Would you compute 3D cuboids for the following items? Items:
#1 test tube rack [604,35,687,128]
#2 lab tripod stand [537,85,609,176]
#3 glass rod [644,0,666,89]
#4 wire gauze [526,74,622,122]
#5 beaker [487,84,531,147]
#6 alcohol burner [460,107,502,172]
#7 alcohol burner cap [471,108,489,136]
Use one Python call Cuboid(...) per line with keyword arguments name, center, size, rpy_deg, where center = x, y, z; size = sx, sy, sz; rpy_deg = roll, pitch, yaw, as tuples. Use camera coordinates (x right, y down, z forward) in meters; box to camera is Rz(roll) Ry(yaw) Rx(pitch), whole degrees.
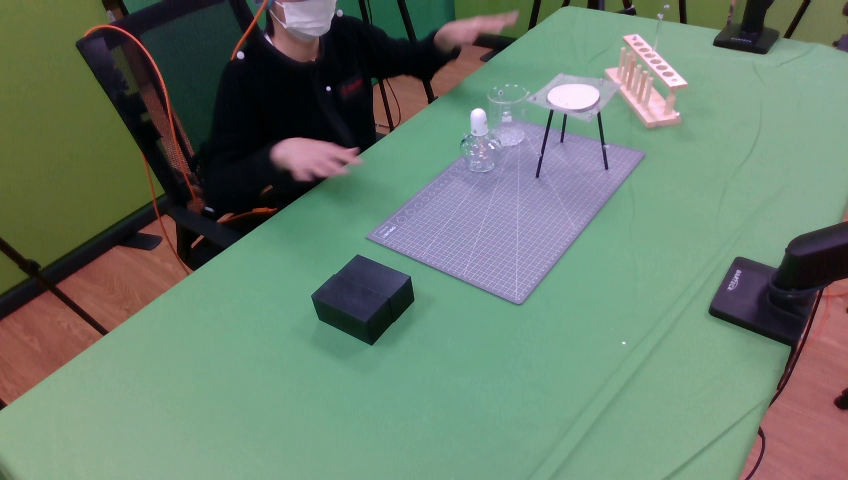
Cuboid(name="test tube rack", center=(0.447, -0.330, 1.241), size=(0.067, 0.085, 0.241), rpy_deg=(-9, 41, -2))
Cuboid(name="lab tripod stand", center=(0.259, -0.192, 1.068), size=(0.148, 0.132, 0.147), rpy_deg=(-4, 42, 4))
Cuboid(name="glass rod", center=(0.465, -0.397, 1.215), size=(0.008, 0.200, 0.008), rpy_deg=(0, 39, 1))
Cuboid(name="wire gauze", center=(0.255, -0.248, 1.030), size=(0.124, 0.011, 0.122), rpy_deg=(24, 51, 32))
Cuboid(name="beaker", center=(0.163, -0.237, 1.161), size=(0.084, 0.101, 0.073), rpy_deg=(-10, 41, -3))
Cuboid(name="alcohol burner", center=(0.102, -0.185, 1.098), size=(0.078, 0.119, 0.077), rpy_deg=(-6, 40, 5))
Cuboid(name="alcohol burner cap", center=(0.098, -0.211, 1.074), size=(0.034, 0.048, 0.033), rpy_deg=(-6, 41, 6))
